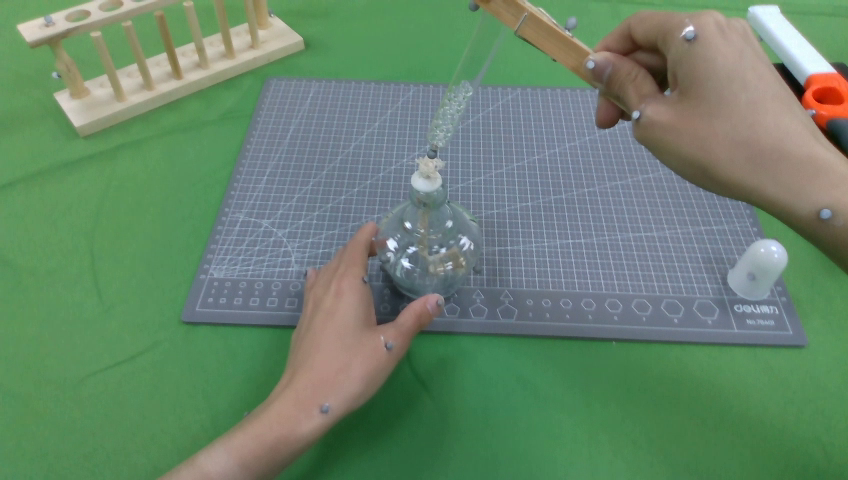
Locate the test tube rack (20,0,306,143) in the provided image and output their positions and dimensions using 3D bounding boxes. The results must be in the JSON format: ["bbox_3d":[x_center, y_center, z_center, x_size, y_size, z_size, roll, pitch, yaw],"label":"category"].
[{"bbox_3d":[-0.244,-0.193,0.601,0.242,0.086,0.066,-31,57,-25],"label":"test tube rack"}]

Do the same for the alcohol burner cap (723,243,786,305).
[{"bbox_3d":[0.247,0.022,0.449,0.034,0.048,0.033,1,48,-1],"label":"alcohol burner cap"}]

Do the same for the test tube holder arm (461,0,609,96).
[{"bbox_3d":[0.058,-0.106,0.316,0.088,0.015,0.010,36,35,1],"label":"test tube holder arm"}]

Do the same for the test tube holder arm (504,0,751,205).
[{"bbox_3d":[0.095,-0.080,0.317,0.178,0.015,0.013,40,36,7],"label":"test tube holder arm"}]

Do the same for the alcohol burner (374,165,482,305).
[{"bbox_3d":[0.003,-0.008,0.424,0.078,0.120,0.077,0,51,1],"label":"alcohol burner"}]

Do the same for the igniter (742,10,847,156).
[{"bbox_3d":[0.352,-0.130,0.533,0.057,0.025,0.273,-4,47,0],"label":"igniter"}]

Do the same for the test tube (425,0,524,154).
[{"bbox_3d":[0.035,-0.111,0.329,0.017,0.151,0.017,20,32,-13],"label":"test tube"}]
